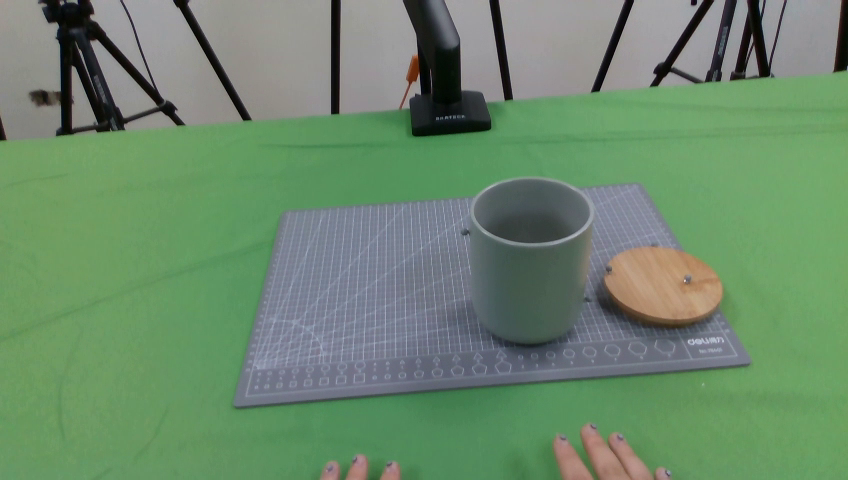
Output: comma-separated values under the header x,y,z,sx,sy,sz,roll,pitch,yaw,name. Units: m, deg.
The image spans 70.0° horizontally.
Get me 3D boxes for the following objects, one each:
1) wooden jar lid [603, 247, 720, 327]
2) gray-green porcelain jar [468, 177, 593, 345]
x,y,z,sx,sy,sz,roll,pitch,yaw,name
0.230,0.047,0.594,0.108,0.021,0.107,-3,36,3,wooden jar lid
0.094,0.023,0.549,0.106,0.127,0.105,-3,38,3,gray-green porcelain jar
